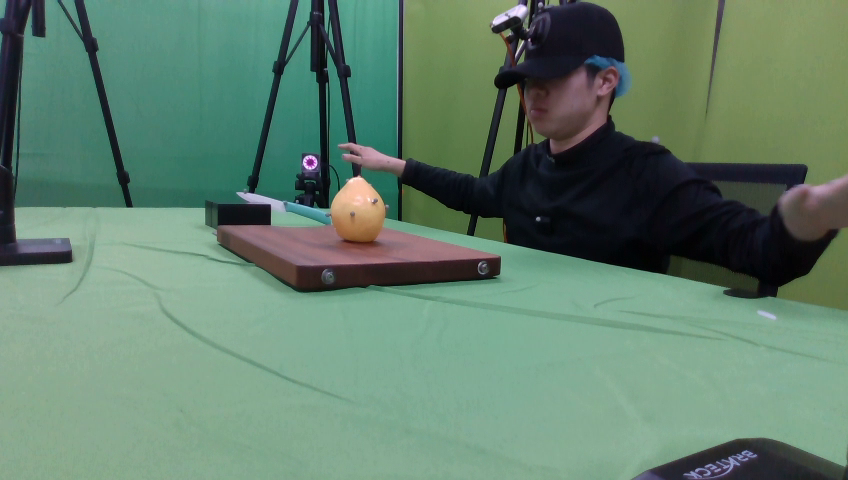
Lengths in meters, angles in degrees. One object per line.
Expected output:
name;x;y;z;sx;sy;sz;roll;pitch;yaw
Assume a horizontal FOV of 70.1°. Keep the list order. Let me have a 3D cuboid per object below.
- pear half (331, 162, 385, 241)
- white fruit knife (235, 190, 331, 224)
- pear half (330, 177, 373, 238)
pear half;-0.085;-0.052;0.839;0.055;0.110;0.077;10;14;42
white fruit knife;-0.286;-0.070;1.245;0.208;0.027;0.016;15;-4;-30
pear half;-0.109;-0.047;0.866;0.031;0.088;0.071;8;12;43
